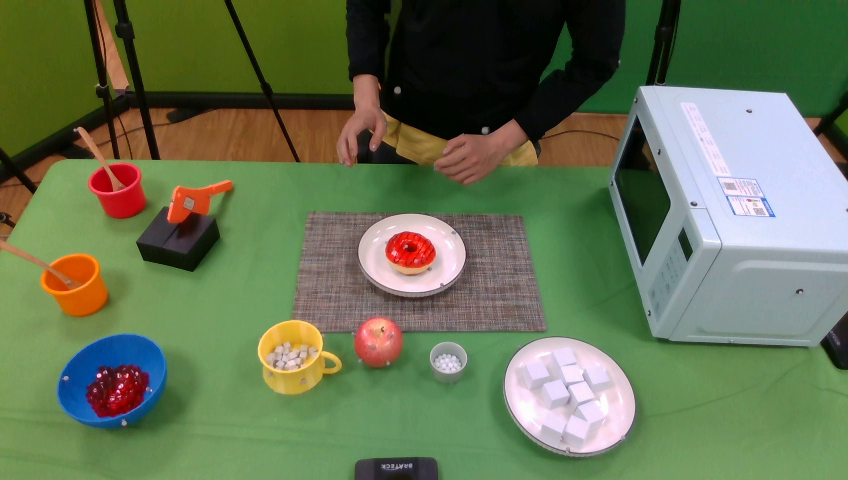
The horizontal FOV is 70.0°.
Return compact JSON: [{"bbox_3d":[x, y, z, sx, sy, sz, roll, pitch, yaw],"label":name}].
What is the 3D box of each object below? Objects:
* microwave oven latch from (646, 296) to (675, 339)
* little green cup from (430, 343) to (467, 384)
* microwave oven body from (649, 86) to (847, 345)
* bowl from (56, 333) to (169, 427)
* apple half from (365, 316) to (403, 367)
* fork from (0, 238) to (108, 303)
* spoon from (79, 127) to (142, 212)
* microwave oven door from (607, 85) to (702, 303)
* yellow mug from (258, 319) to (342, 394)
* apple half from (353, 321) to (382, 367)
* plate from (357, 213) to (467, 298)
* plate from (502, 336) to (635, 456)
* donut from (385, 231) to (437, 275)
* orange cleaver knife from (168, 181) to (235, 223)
[{"bbox_3d":[0.412,0.134,1.061,0.030,0.029,0.078,4,45,0],"label":"microwave oven latch"},{"bbox_3d":[0.039,0.203,0.993,0.061,0.039,0.061,2,46,-2],"label":"little green cup"},{"bbox_3d":[0.567,-0.053,1.118,0.326,0.261,0.439,2,45,-1],"label":"microwave oven body"},{"bbox_3d":[-0.456,0.223,0.911,0.151,0.077,0.150,3,46,-2],"label":"bowl"},{"bbox_3d":[-0.063,0.165,1.000,0.053,0.075,0.080,-16,45,-24],"label":"apple half"},{"bbox_3d":[-0.633,0.048,1.017,0.208,0.018,0.028,40,41,-27],"label":"fork"},{"bbox_3d":[-0.624,-0.140,1.203,0.041,0.021,0.194,-33,100,-26],"label":"spoon"},{"bbox_3d":[0.423,-0.094,1.140,0.039,0.245,0.353,2,46,-1],"label":"microwave oven door"},{"bbox_3d":[-0.195,0.188,0.972,0.131,0.064,0.099,9,47,4],"label":"yellow mug"},{"bbox_3d":[-0.098,0.177,0.984,0.033,0.081,0.081,-17,49,-25],"label":"apple half"},{"bbox_3d":[-0.023,0.032,1.150,0.209,0.038,0.208,2,46,-2],"label":"plate"},{"bbox_3d":[0.225,0.248,0.963,0.208,0.039,0.206,2,46,-2],"label":"plate"},{"bbox_3d":[-0.025,0.024,1.141,0.099,0.048,0.098,3,44,-3],"label":"donut"},{"bbox_3d":[-0.436,-0.078,1.196,0.012,0.077,0.211,16,15,10],"label":"orange cleaver knife"}]
